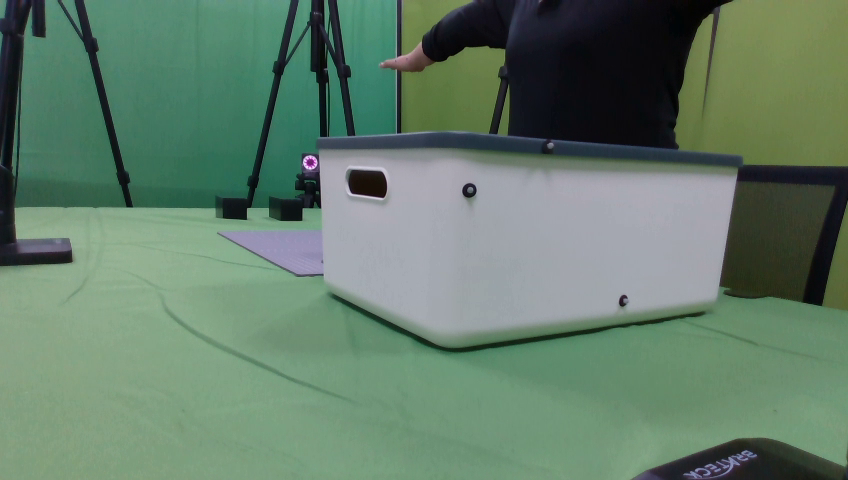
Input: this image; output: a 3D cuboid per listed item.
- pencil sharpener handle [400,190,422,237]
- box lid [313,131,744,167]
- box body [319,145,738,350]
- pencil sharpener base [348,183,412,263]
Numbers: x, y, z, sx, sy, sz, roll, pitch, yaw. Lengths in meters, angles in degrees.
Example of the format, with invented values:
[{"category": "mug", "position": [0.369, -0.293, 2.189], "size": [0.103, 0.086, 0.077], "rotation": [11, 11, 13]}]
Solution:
[{"category": "pencil sharpener handle", "position": [-0.016, -0.038, 0.872], "size": [0.031, 0.067, 0.036], "rotation": [-1, 16, -30]}, {"category": "box lid", "position": [0.101, -0.085, 0.602], "size": [0.373, 0.015, 0.262], "rotation": [-2, 8, -32]}, {"category": "box body", "position": [0.100, -0.013, 0.611], "size": [0.366, 0.160, 0.253], "rotation": [-2, 8, -33]}, {"category": "pencil sharpener base", "position": [-0.059, -0.024, 0.846], "size": [0.077, 0.107, 0.061], "rotation": [-1, 7, -30]}]
